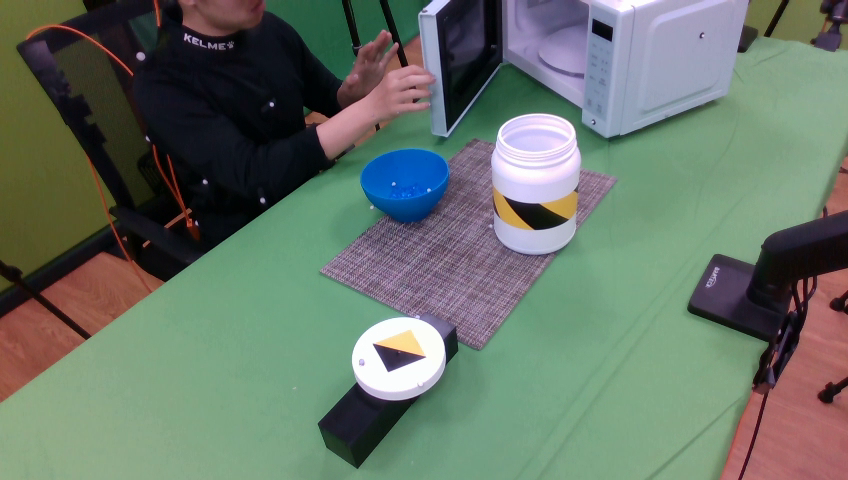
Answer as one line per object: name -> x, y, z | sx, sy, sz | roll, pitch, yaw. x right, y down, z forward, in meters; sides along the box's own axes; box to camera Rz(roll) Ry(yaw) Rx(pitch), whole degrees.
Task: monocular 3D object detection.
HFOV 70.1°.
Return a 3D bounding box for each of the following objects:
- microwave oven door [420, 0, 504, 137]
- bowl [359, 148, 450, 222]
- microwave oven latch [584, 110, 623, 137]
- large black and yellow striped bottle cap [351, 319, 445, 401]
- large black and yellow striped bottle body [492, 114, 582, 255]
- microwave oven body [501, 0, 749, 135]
microwave oven door -> 0.089, -0.407, 1.237 | 0.039, 0.245, 0.356 | 12, 44, 21
bowl -> -0.029, -0.083, 1.022 | 0.151, 0.077, 0.150 | -4, 40, 4
microwave oven latch -> 0.337, -0.222, 1.142 | 0.030, 0.029, 0.078 | -21, 42, -14
large black and yellow striped bottle cap -> -0.032, 0.143, 0.735 | 0.115, 0.019, 0.114 | -3, 40, 3
large black and yellow striped bottle body -> 0.169, -0.083, 0.912 | 0.131, 0.185, 0.130 | -4, 41, 4
microwave oven body -> 0.382, -0.444, 1.246 | 0.327, 0.261, 0.437 | -22, 42, -16
